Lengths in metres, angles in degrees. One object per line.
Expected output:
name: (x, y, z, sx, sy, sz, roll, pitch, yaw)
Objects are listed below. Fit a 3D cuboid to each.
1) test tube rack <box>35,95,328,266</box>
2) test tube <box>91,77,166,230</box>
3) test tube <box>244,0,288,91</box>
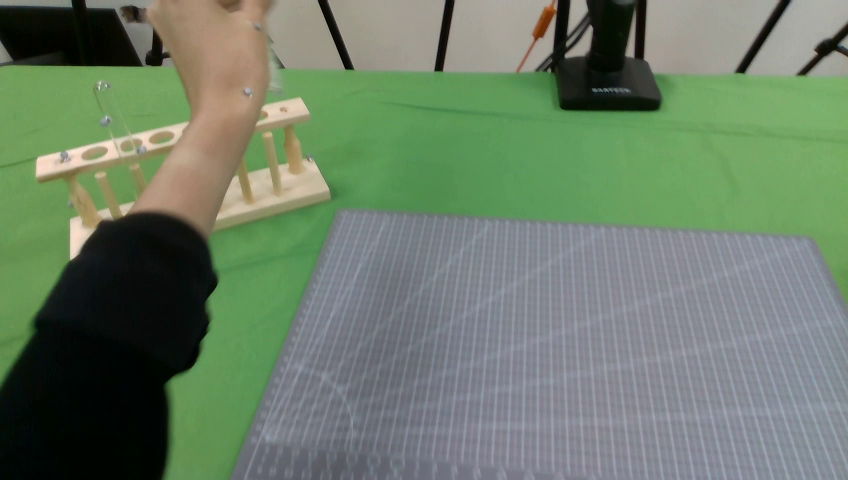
test tube rack: (-0.223, -0.061, 0.583, 0.243, 0.086, 0.066, -18, 44, -16)
test tube: (-0.255, -0.071, 0.528, 0.017, 0.152, 0.017, -1, 40, 1)
test tube: (-0.118, -0.164, 0.429, 0.017, 0.151, 0.017, 0, 56, 0)
